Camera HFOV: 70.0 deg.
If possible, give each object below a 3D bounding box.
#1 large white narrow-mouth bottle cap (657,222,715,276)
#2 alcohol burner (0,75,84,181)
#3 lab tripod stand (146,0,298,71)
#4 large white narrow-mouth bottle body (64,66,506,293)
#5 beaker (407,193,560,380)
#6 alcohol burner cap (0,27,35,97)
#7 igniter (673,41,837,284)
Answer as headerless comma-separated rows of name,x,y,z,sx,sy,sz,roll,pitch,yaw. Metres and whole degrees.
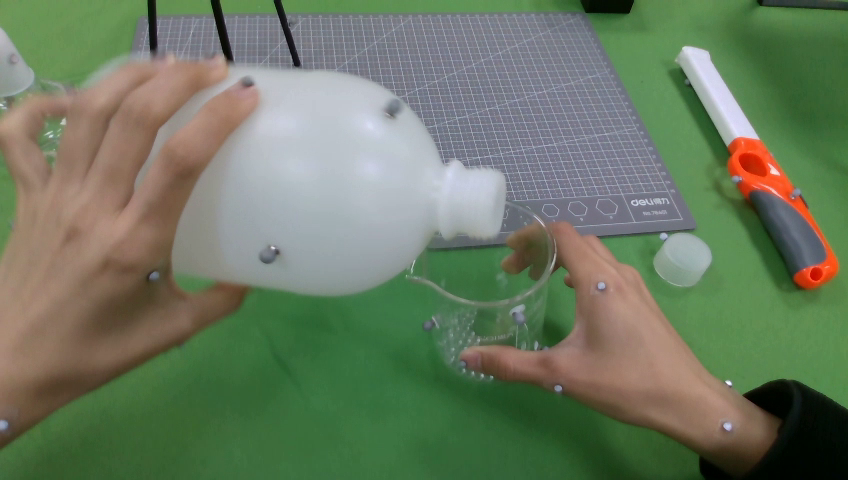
large white narrow-mouth bottle cap,0.196,0.007,0.453,0.038,0.024,0.037,3,53,-3
alcohol burner,-0.283,-0.099,0.421,0.078,0.120,0.077,4,51,-5
lab tripod stand,-0.154,-0.159,0.464,0.148,0.132,0.147,4,53,-5
large white narrow-mouth bottle body,-0.059,-0.027,0.284,0.194,0.103,0.101,7,51,19
beaker,0.035,0.033,0.361,0.084,0.101,0.073,-16,52,-6
alcohol burner cap,-0.280,-0.120,0.392,0.034,0.048,0.033,2,59,-3
igniter,0.277,-0.079,0.522,0.057,0.025,0.273,4,53,-16
